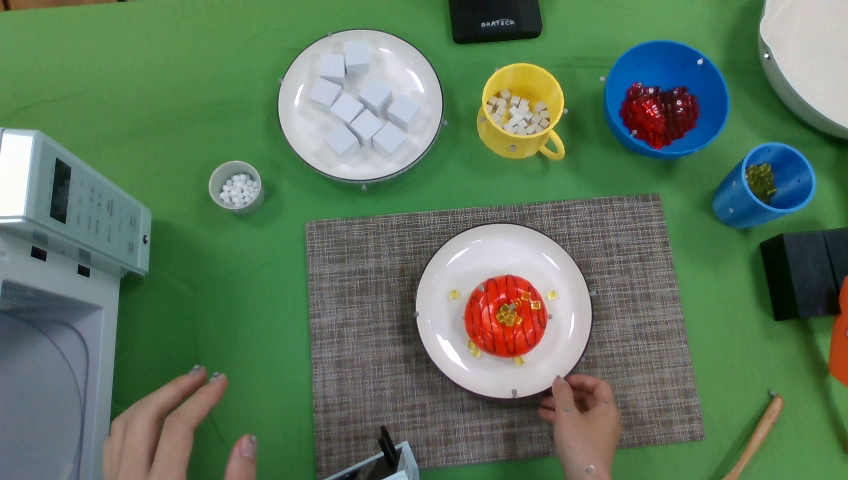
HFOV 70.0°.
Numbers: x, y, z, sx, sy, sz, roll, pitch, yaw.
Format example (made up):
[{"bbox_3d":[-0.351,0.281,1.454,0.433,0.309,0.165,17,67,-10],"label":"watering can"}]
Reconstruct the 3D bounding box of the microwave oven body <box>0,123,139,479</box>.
[{"bbox_3d":[-0.481,0.143,0.568,0.326,0.261,0.439,-2,78,-3],"label":"microwave oven body"}]

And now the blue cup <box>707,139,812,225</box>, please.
[{"bbox_3d":[0.391,-0.061,0.727,0.093,0.100,0.092,1,75,-2],"label":"blue cup"}]

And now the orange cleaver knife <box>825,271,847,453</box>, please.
[{"bbox_3d":[0.488,0.142,0.694,0.012,0.077,0.212,-6,106,-3],"label":"orange cleaver knife"}]

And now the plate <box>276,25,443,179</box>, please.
[{"bbox_3d":[-0.081,-0.172,0.771,0.208,0.039,0.206,0,77,-1],"label":"plate"}]

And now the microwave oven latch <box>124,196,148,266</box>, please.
[{"bbox_3d":[-0.341,-0.010,0.706,0.030,0.029,0.079,-1,78,-2],"label":"microwave oven latch"}]

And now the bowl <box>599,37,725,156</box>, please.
[{"bbox_3d":[0.285,-0.166,0.761,0.151,0.077,0.150,0,77,-1],"label":"bowl"}]

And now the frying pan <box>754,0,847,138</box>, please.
[{"bbox_3d":[0.570,-0.164,0.755,0.307,0.103,0.484,0,69,-1],"label":"frying pan"}]

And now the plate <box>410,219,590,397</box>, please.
[{"bbox_3d":[0.087,0.079,0.714,0.209,0.038,0.208,0,78,-2],"label":"plate"}]

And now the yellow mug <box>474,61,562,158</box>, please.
[{"bbox_3d":[0.126,-0.153,0.759,0.100,0.064,0.130,-41,82,-10],"label":"yellow mug"}]

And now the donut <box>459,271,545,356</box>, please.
[{"bbox_3d":[0.090,0.085,0.702,0.099,0.048,0.098,0,81,0],"label":"donut"}]

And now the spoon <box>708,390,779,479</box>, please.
[{"bbox_3d":[0.359,0.250,0.695,0.041,0.022,0.193,37,78,19],"label":"spoon"}]

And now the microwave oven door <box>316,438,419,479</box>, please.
[{"bbox_3d":[-0.173,0.278,0.542,0.356,0.245,0.039,-23,77,-7],"label":"microwave oven door"}]

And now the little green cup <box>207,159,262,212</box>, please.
[{"bbox_3d":[-0.229,-0.064,0.740,0.061,0.039,0.061,0,78,-2],"label":"little green cup"}]
